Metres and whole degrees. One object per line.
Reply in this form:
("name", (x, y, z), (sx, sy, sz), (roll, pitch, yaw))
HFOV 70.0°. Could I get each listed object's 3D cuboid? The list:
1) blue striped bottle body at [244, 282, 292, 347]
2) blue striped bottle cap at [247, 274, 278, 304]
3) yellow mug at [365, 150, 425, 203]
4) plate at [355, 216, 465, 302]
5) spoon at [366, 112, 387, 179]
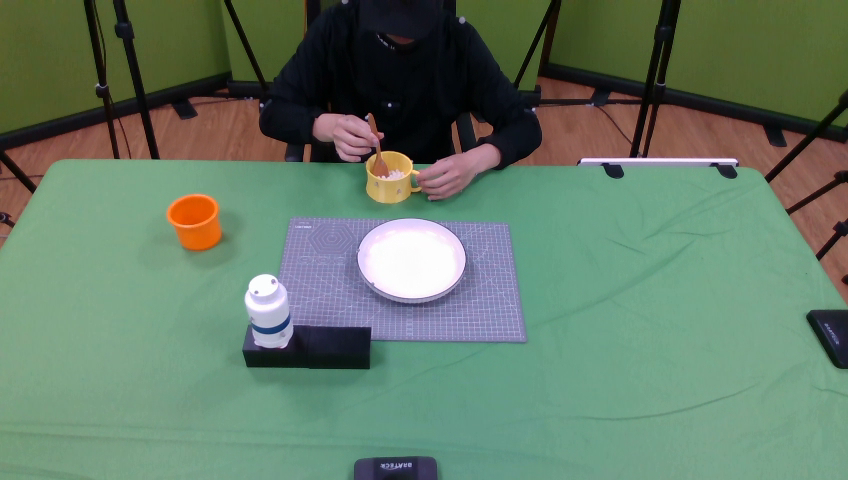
("blue striped bottle body", (-0.241, 0.108, 0.937), (0.063, 0.121, 0.062), (2, 46, -2))
("blue striped bottle cap", (-0.239, 0.072, 0.900), (0.044, 0.021, 0.044), (4, 46, -4))
("yellow mug", (-0.061, -0.133, 1.291), (0.131, 0.064, 0.099), (9, 46, 3))
("plate", (-0.027, 0.039, 1.144), (0.208, 0.039, 0.206), (2, 46, -2))
("spoon", (-0.098, -0.188, 1.243), (0.041, 0.195, 0.021), (-37, 63, -21))
